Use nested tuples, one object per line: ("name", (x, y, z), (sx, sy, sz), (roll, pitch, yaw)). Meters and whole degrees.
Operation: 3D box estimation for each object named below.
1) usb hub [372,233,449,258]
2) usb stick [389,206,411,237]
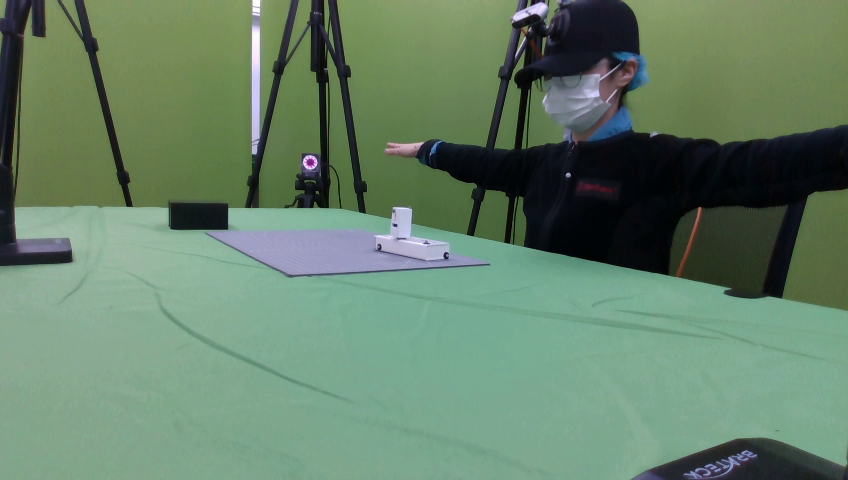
("usb hub", (-0.023, 0.007, 0.918), (0.050, 0.025, 0.124), (-5, 10, -42))
("usb stick", (-0.036, -0.022, 0.909), (0.027, 0.059, 0.021), (-6, 13, -43))
